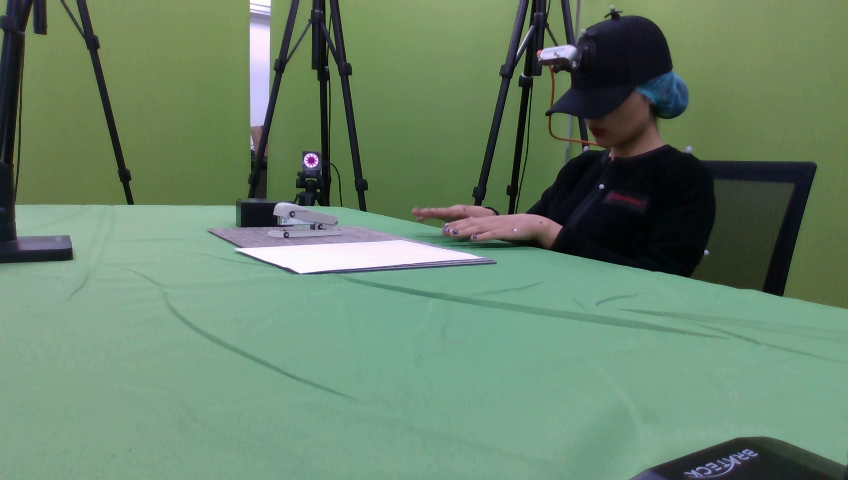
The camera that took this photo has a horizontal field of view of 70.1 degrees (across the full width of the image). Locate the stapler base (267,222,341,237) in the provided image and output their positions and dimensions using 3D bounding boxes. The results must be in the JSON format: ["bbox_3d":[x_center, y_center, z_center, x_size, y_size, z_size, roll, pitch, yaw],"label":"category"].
[{"bbox_3d":[-0.208,-0.020,1.057,0.131,0.024,0.041,-2,12,-41],"label":"stapler base"}]

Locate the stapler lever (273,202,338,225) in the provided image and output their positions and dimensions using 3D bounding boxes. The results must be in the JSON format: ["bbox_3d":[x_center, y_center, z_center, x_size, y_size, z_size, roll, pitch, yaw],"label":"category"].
[{"bbox_3d":[-0.206,-0.045,1.055,0.119,0.040,0.026,-2,12,-41],"label":"stapler lever"}]
